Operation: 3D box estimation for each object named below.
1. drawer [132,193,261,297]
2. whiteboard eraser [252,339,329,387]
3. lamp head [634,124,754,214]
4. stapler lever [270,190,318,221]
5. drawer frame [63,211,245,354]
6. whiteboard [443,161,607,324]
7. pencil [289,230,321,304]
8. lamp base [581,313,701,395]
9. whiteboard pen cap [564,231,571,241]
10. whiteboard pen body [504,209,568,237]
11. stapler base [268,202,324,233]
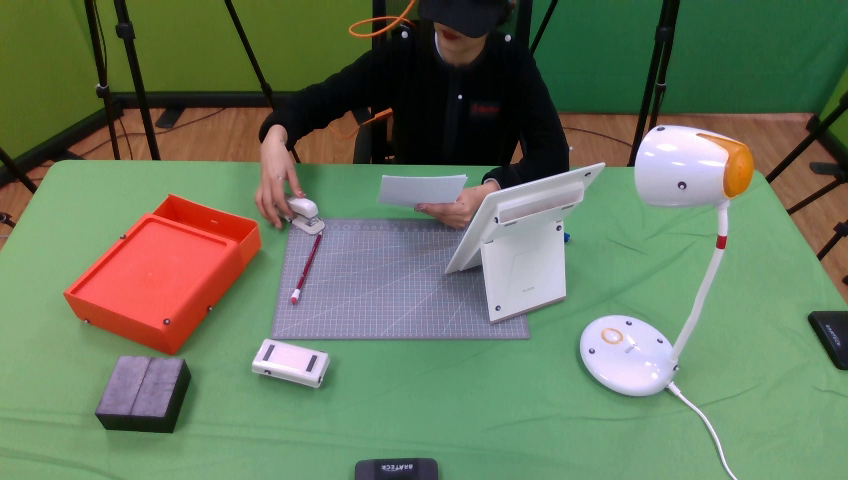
[{"bbox_3d":[-0.437,0.027,1.098,0.194,0.073,0.211,18,48,12],"label":"drawer"},{"bbox_3d":[-0.215,0.199,0.976,0.112,0.042,0.055,12,45,7],"label":"whiteboard eraser"},{"bbox_3d":[0.351,-0.089,0.776,0.112,0.113,0.122,-30,30,-28],"label":"lamp head"},{"bbox_3d":[-0.260,-0.076,1.212,0.117,0.040,0.027,28,45,26],"label":"stapler lever"},{"bbox_3d":[-0.459,0.067,1.056,0.201,0.083,0.212,17,48,11],"label":"drawer frame"},{"bbox_3d":[0.185,0.026,1.028,0.217,0.306,0.143,-15,68,-18],"label":"whiteboard"},{"bbox_3d":[-0.221,0.045,1.141,0.012,0.012,0.193,8,44,4],"label":"pencil"},{"bbox_3d":[0.361,0.144,0.973,0.178,0.181,0.160,34,53,23],"label":"lamp base"},{"bbox_3d":[0.281,-0.011,1.230,0.033,0.018,0.018,25,50,17],"label":"whiteboard pen cap"},{"bbox_3d":[0.230,-0.034,1.248,0.140,0.017,0.017,23,49,17],"label":"whiteboard pen body"},{"bbox_3d":[-0.260,-0.056,1.228,0.130,0.024,0.041,28,45,26],"label":"stapler base"}]
